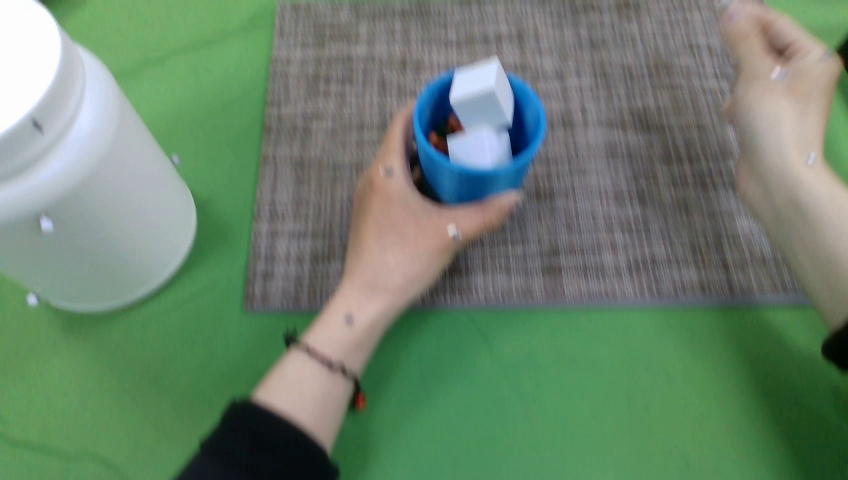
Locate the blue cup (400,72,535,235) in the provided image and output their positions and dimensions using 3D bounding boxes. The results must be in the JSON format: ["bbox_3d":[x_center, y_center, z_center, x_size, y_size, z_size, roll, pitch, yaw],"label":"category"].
[{"bbox_3d":[0.029,-0.051,0.427,0.092,0.101,0.092,0,65,1],"label":"blue cup"}]

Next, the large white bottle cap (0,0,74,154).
[{"bbox_3d":[-0.235,-0.084,0.297,0.115,0.018,0.114,0,64,-1],"label":"large white bottle cap"}]

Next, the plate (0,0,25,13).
[{"bbox_3d":[-0.424,-0.272,0.558,0.208,0.039,0.206,0,65,-1],"label":"plate"}]

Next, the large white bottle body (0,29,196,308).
[{"bbox_3d":[-0.234,-0.046,0.373,0.130,0.186,0.129,0,65,-1],"label":"large white bottle body"}]
